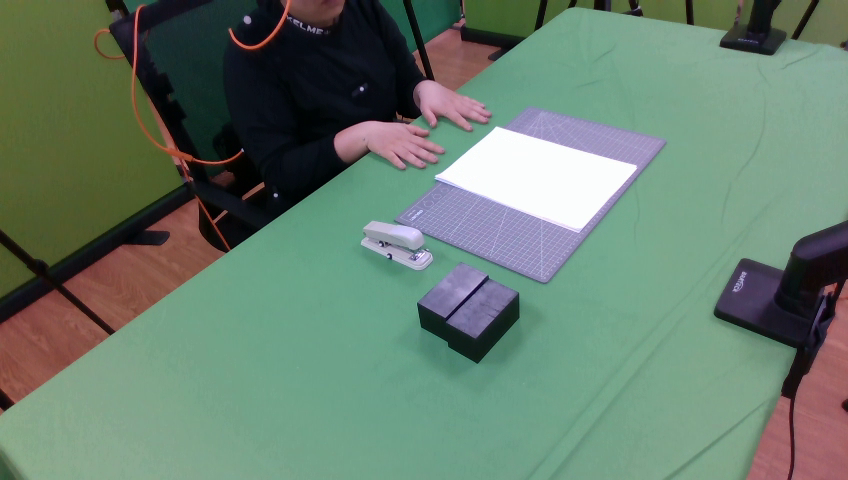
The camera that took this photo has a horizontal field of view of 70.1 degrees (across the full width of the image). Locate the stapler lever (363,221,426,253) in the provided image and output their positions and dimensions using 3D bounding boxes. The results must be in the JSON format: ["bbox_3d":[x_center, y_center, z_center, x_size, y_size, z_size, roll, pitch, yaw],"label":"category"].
[{"bbox_3d":[-0.048,-0.011,0.958,0.117,0.040,0.027,21,46,32],"label":"stapler lever"}]

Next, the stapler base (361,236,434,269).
[{"bbox_3d":[-0.044,0.009,0.974,0.129,0.024,0.041,21,46,32],"label":"stapler base"}]
